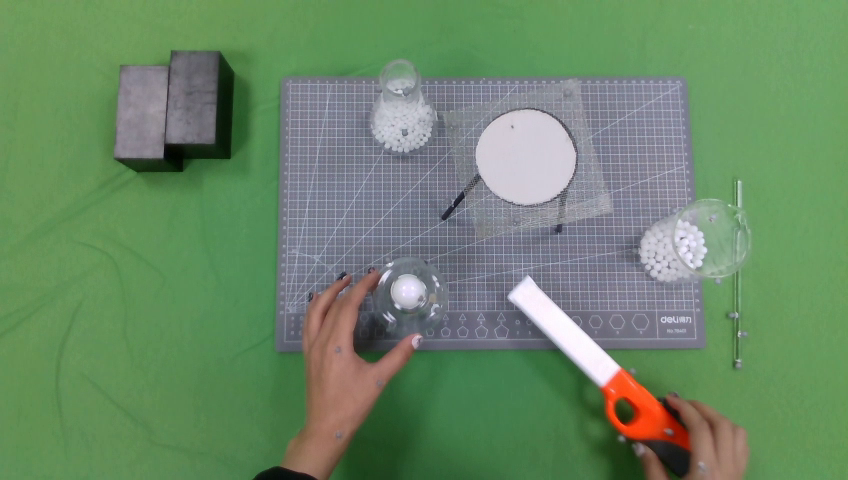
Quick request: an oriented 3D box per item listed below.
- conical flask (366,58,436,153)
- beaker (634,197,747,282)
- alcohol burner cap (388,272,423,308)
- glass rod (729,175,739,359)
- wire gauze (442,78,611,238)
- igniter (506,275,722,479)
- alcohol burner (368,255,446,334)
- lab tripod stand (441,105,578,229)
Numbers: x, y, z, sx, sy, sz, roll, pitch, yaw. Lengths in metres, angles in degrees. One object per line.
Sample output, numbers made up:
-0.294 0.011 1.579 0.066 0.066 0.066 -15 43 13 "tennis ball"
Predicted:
-0.024 -0.138 0.605 0.075 0.122 0.075 0 81 -1 "conical flask"
0.262 0.002 0.604 0.084 0.100 0.074 -37 84 -7 "beaker"
-0.016 0.045 0.547 0.034 0.048 0.034 0 85 -4 "alcohol burner cap"
0.333 0.027 0.651 0.008 0.008 0.199 3 82 -1 "glass rod"
0.088 -0.071 0.524 0.125 0.011 0.121 -13 83 -3 "wire gauze"
0.189 0.143 0.601 0.057 0.025 0.276 -44 85 -9 "igniter"
-0.017 0.051 0.583 0.078 0.119 0.077 0 80 1 "alcohol burner"
0.086 -0.063 0.592 0.148 0.132 0.148 0 84 0 "lab tripod stand"
